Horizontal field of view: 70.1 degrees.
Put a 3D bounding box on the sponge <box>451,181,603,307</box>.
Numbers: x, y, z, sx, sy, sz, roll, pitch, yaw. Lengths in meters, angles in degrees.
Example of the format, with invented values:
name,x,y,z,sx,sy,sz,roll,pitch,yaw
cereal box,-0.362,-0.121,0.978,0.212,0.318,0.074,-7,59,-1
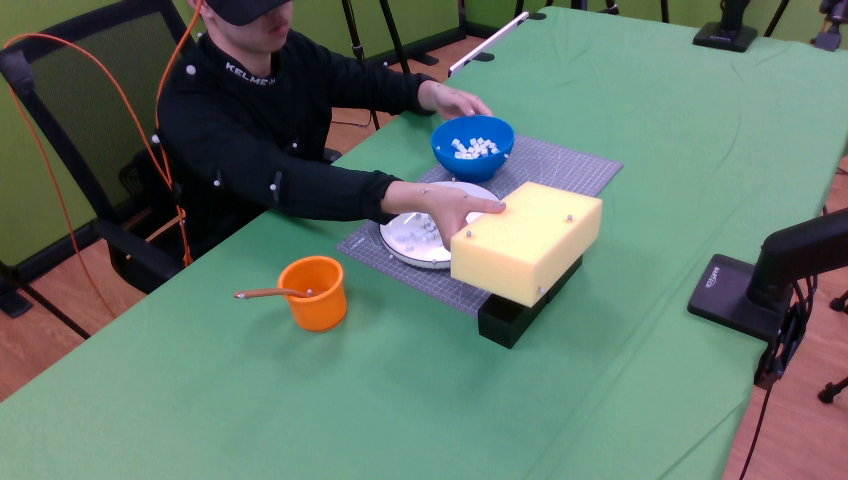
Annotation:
name,x,y,z,sx,sy,sz,roll,pitch,yaw
sponge,0.139,-0.003,0.796,0.117,0.061,0.208,18,35,31

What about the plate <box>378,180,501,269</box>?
name,x,y,z,sx,sy,sz,roll,pitch,yaw
plate,0.031,-0.022,0.974,0.209,0.038,0.208,-4,40,4

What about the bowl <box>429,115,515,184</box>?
name,x,y,z,sx,sy,sz,roll,pitch,yaw
bowl,0.089,-0.154,1.089,0.151,0.077,0.150,-4,40,4

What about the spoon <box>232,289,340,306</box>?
name,x,y,z,sx,sy,sz,roll,pitch,yaw
spoon,-0.181,0.075,0.811,0.041,0.195,0.021,17,90,31
